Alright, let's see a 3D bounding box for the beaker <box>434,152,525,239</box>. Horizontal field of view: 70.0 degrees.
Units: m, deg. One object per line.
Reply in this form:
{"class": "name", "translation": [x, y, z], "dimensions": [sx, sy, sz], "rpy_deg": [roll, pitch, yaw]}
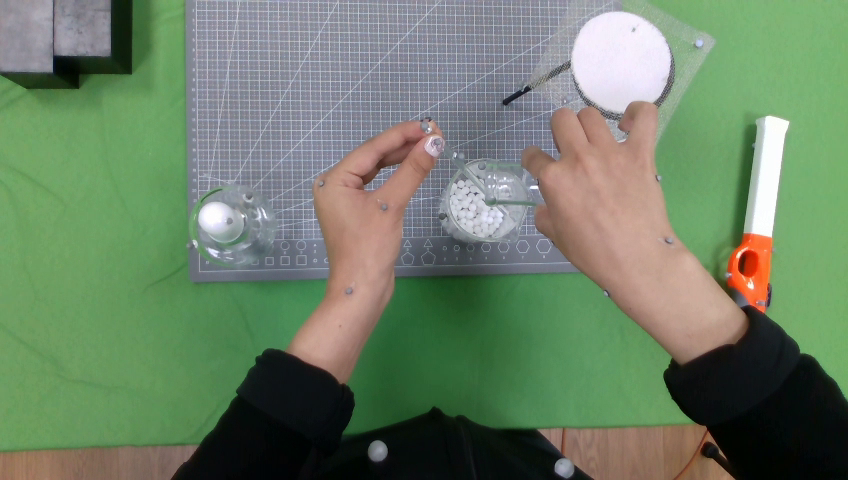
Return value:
{"class": "beaker", "translation": [0.050, -0.035, 0.580], "dimensions": [0.074, 0.100, 0.084], "rpy_deg": [-37, 92, -5]}

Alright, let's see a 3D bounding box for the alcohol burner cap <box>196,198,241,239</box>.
{"class": "alcohol burner cap", "translation": [-0.175, -0.020, 0.512], "dimensions": [0.034, 0.048, 0.033], "rpy_deg": [1, 82, -8]}

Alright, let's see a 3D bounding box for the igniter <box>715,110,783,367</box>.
{"class": "igniter", "translation": [0.349, 0.000, 0.648], "dimensions": [0.057, 0.025, 0.276], "rpy_deg": [10, 88, -16]}

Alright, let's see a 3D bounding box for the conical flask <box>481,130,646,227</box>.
{"class": "conical flask", "translation": [0.107, -0.048, 0.477], "dimensions": [0.122, 0.075, 0.075], "rpy_deg": [1, 88, 8]}

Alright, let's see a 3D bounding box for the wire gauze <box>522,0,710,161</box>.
{"class": "wire gauze", "translation": [0.161, -0.151, 0.510], "dimensions": [0.125, 0.011, 0.121], "rpy_deg": [31, 87, -4]}

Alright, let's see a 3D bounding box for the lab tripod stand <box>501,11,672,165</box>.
{"class": "lab tripod stand", "translation": [0.158, -0.146, 0.576], "dimensions": [0.148, 0.131, 0.148], "rpy_deg": [0, 90, -4]}

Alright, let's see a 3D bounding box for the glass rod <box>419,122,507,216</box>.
{"class": "glass rod", "translation": [0.039, -0.052, 0.503], "dimensions": [0.008, 0.201, 0.008], "rpy_deg": [-7, 72, 23]}

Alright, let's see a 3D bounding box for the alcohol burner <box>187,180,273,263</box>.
{"class": "alcohol burner", "translation": [-0.179, -0.017, 0.548], "dimensions": [0.078, 0.119, 0.078], "rpy_deg": [0, 89, -4]}
